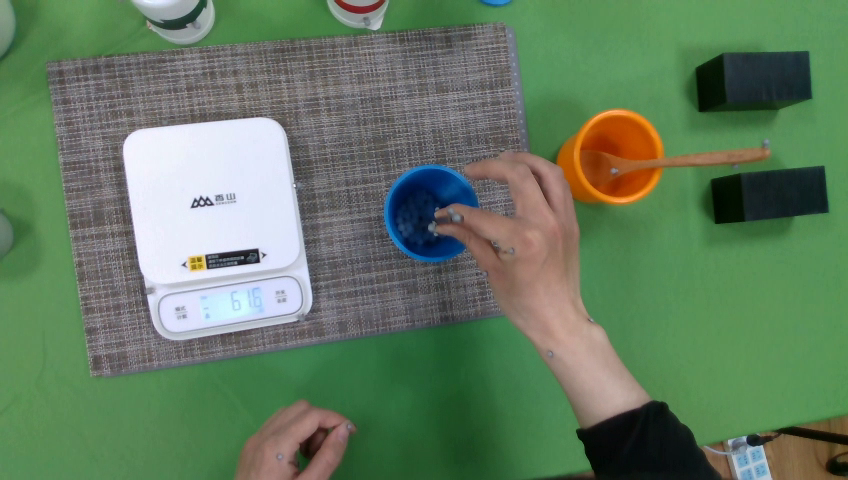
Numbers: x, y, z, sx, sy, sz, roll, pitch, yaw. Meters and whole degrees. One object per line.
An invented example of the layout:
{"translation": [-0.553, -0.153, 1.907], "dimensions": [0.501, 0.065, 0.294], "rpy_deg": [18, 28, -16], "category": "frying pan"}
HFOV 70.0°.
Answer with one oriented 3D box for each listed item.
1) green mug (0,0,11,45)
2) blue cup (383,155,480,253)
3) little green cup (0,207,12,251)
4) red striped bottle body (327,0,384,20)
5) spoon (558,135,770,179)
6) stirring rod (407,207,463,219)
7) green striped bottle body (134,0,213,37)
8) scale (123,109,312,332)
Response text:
{"translation": [-0.426, -0.192, 0.508], "dimensions": [0.093, 0.105, 0.125], "rpy_deg": [27, 86, -8], "category": "green mug"}
{"translation": [0.001, -0.031, 0.571], "dimensions": [0.093, 0.100, 0.092], "rpy_deg": [0, 91, -7], "category": "blue cup"}
{"translation": [-0.408, -0.011, 0.545], "dimensions": [0.062, 0.038, 0.061], "rpy_deg": [0, 90, -10], "category": "little green cup"}
{"translation": [-0.061, -0.253, 0.555], "dimensions": [0.063, 0.119, 0.063], "rpy_deg": [0, 90, -9], "category": "red striped bottle body"}
{"translation": [0.223, -0.084, 0.584], "dimensions": [0.022, 0.192, 0.041], "rpy_deg": [-11, 99, -52], "category": "spoon"}
{"translation": [0.006, -0.022, 0.517], "dimensions": [0.014, 0.175, 0.006], "rpy_deg": [-5, 92, -11], "category": "stirring rod"}
{"translation": [-0.228, -0.228, 0.530], "dimensions": [0.063, 0.119, 0.063], "rpy_deg": [0, 90, -8], "category": "green striped bottle body"}
{"translation": [-0.194, -0.019, 0.577], "dimensions": [0.149, 0.031, 0.201], "rpy_deg": [-9, 92, -8], "category": "scale"}
